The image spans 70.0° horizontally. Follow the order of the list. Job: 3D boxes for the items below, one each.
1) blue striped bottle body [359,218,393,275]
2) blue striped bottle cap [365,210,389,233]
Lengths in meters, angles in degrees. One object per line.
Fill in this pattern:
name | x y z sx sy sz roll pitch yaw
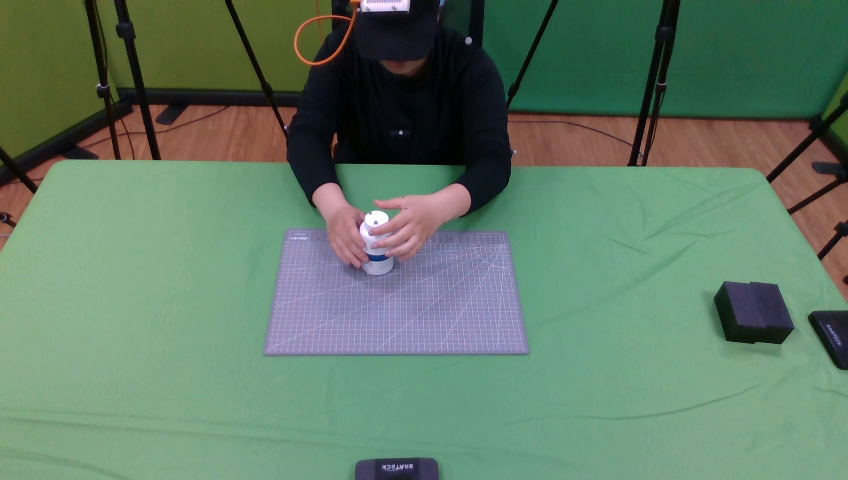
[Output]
blue striped bottle body | -0.088 0.004 1.116 0.063 0.121 0.062 2 45 -2
blue striped bottle cap | -0.084 -0.033 1.080 0.044 0.021 0.044 0 49 1
